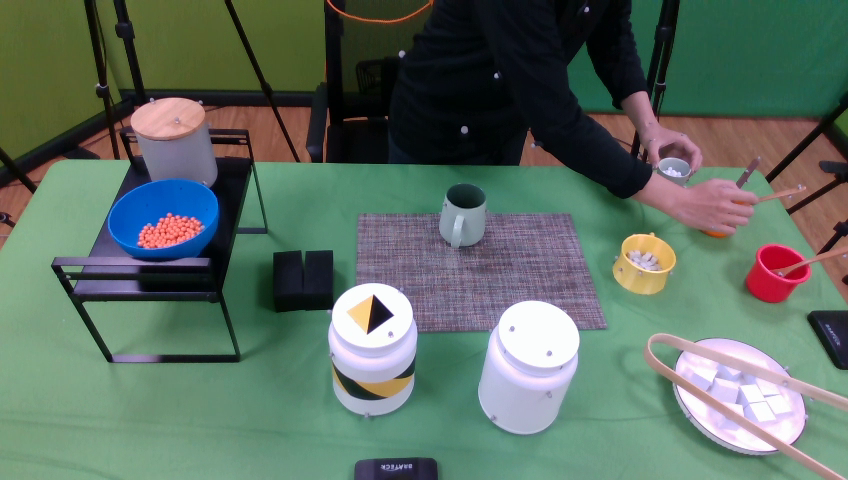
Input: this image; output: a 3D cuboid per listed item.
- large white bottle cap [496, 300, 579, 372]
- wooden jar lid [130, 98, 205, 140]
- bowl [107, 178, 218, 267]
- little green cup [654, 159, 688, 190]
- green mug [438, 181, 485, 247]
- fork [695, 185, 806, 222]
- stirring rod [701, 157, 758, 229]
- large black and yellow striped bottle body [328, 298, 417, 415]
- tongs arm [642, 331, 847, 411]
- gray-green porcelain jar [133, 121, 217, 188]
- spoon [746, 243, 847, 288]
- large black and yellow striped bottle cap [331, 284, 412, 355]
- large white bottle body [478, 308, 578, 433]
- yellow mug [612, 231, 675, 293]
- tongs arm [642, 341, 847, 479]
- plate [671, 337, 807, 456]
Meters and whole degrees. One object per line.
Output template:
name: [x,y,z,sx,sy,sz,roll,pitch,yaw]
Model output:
large white bottle cap: [0.160,0.133,0.852,0.115,0.018,0.114,3,46,-2]
wooden jar lid: [-0.393,-0.183,0.934,0.108,0.021,0.107,2,43,-2]
bowl: [-0.374,-0.014,0.893,0.151,0.077,0.150,2,46,-2]
little green cup: [0.485,-0.129,1.198,0.061,0.039,0.061,-3,39,3]
green mug: [0.071,-0.039,1.177,0.092,0.105,0.124,12,47,7]
fork: [0.658,-0.074,1.229,0.207,0.019,0.028,-23,36,37]
stirring rod: [0.634,-0.097,1.257,0.014,0.006,0.176,38,97,29]
large black and yellow striped bottle body: [-0.078,0.167,0.920,0.131,0.185,0.130,2,46,-2]
tongs arm: [0.546,0.227,0.968,0.384,0.026,0.050,22,52,13]
gray-green porcelain jar: [-0.397,-0.141,0.980,0.106,0.127,0.105,2,47,-2]
spoon: [0.702,0.044,1.126,0.194,0.022,0.041,-29,38,30]
large black and yellow striped bottle cap: [-0.073,0.110,0.857,0.115,0.019,0.114,2,46,-1]
large white bottle body: [0.155,0.192,0.913,0.131,0.185,0.130,2,46,-2]
yellow mug: [0.424,0.033,1.168,0.100,0.064,0.130,18,47,14]
tongs arm: [0.504,0.278,0.918,0.386,0.028,0.028,34,59,22]
plate: [0.503,0.254,0.984,0.208,0.039,0.206,2,46,-2]
